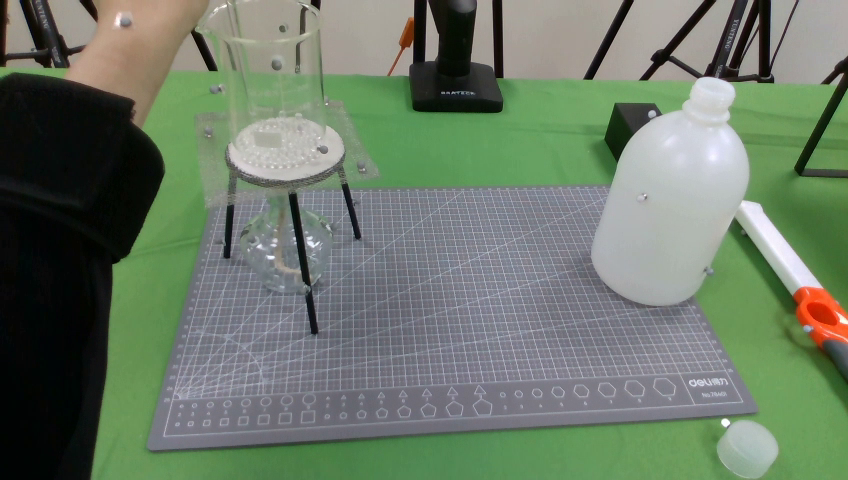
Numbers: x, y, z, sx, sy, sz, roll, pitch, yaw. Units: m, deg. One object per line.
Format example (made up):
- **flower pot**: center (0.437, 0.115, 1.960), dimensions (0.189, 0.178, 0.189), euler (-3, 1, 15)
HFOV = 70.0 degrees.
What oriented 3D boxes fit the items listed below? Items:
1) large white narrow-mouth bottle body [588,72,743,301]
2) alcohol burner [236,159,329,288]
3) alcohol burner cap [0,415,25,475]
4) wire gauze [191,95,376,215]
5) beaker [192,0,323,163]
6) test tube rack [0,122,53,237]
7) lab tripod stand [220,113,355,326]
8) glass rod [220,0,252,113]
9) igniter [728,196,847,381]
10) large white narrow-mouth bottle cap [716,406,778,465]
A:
- **large white narrow-mouth bottle body**: center (0.207, -0.046, 0.511), dimensions (0.102, 0.196, 0.101), euler (2, 42, -1)
- **alcohol burner**: center (-0.120, -0.017, 0.510), dimensions (0.078, 0.120, 0.077), euler (4, 40, -3)
- **alcohol burner cap**: center (-0.283, 0.128, 0.390), dimensions (0.034, 0.048, 0.033), euler (4, 41, -3)
- **wire gauze**: center (-0.110, -0.073, 0.460), dimensions (0.122, 0.011, 0.123), euler (-12, 48, -16)
- **beaker**: center (-0.112, -0.112, 0.429), dimensions (0.084, 0.101, 0.073), euler (-6, 44, -12)
- **test tube rack**: center (-0.461, -0.016, 0.502), dimensions (0.066, 0.086, 0.242), euler (34, 49, 29)
- **lab tripod stand**: center (-0.110, -0.023, 0.502), dimensions (0.148, 0.132, 0.147), euler (4, 42, -3)
- **glass rod**: center (-0.129, -0.167, 0.380), dimensions (0.008, 0.201, 0.008), euler (1, 44, -1)
- **igniter**: center (0.347, 0.050, 0.547), dimensions (0.057, 0.025, 0.273), euler (8, 40, -13)
- **large white narrow-mouth bottle cap**: center (0.233, 0.142, 0.439), dimensions (0.038, 0.024, 0.037), euler (2, 41, -2)
